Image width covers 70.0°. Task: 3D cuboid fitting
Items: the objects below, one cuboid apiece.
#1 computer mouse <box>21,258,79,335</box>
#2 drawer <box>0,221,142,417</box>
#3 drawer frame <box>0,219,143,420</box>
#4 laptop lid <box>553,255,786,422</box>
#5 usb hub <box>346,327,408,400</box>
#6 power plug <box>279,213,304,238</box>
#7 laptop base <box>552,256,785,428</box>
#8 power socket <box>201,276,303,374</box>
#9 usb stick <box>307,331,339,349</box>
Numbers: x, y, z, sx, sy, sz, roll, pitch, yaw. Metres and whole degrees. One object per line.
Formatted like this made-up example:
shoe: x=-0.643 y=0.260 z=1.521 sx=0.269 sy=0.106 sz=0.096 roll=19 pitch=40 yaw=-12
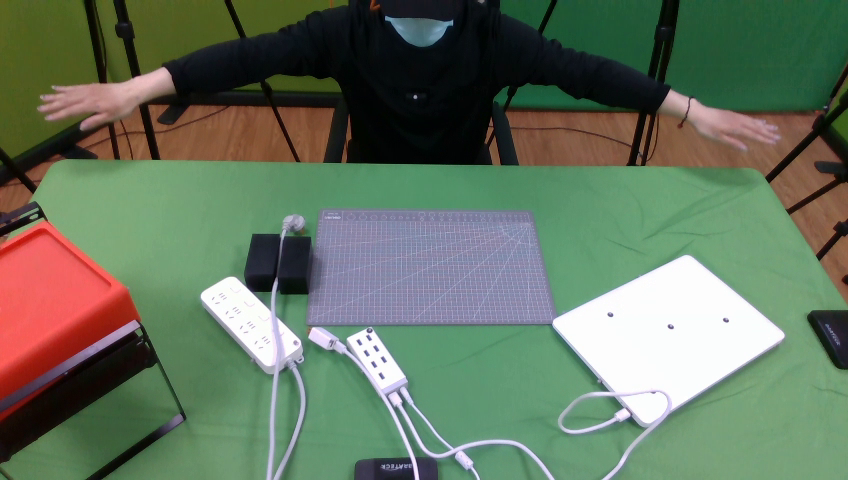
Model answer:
computer mouse: x=-0.505 y=0.073 z=0.819 sx=0.063 sy=0.041 sz=0.116 roll=-6 pitch=57 yaw=-18
drawer: x=-0.516 y=0.095 z=0.780 sx=0.193 sy=0.073 sz=0.211 roll=32 pitch=53 yaw=23
drawer frame: x=-0.518 y=0.096 z=0.777 sx=0.201 sy=0.083 sz=0.213 roll=30 pitch=52 yaw=22
laptop lid: x=0.433 y=0.154 z=1.070 sx=0.357 sy=0.013 sz=0.240 roll=-20 pitch=49 yaw=-22
usb hub: x=-0.078 y=0.202 z=0.998 sx=0.049 sy=0.025 sz=0.124 roll=-23 pitch=53 yaw=-24
power plug: x=-0.262 y=-0.020 z=1.185 sx=0.035 sy=0.053 sz=0.072 roll=10 pitch=56 yaw=33
laptop base: x=0.433 y=0.164 z=1.078 sx=0.355 sy=0.023 sz=0.234 roll=-22 pitch=48 yaw=-23
power socket: x=-0.296 y=0.141 z=1.034 sx=0.072 sy=0.033 sz=0.225 roll=-35 pitch=58 yaw=-31
usb stick: x=-0.175 y=0.167 z=1.023 sx=0.059 sy=0.027 sz=0.021 roll=9 pitch=89 yaw=24
